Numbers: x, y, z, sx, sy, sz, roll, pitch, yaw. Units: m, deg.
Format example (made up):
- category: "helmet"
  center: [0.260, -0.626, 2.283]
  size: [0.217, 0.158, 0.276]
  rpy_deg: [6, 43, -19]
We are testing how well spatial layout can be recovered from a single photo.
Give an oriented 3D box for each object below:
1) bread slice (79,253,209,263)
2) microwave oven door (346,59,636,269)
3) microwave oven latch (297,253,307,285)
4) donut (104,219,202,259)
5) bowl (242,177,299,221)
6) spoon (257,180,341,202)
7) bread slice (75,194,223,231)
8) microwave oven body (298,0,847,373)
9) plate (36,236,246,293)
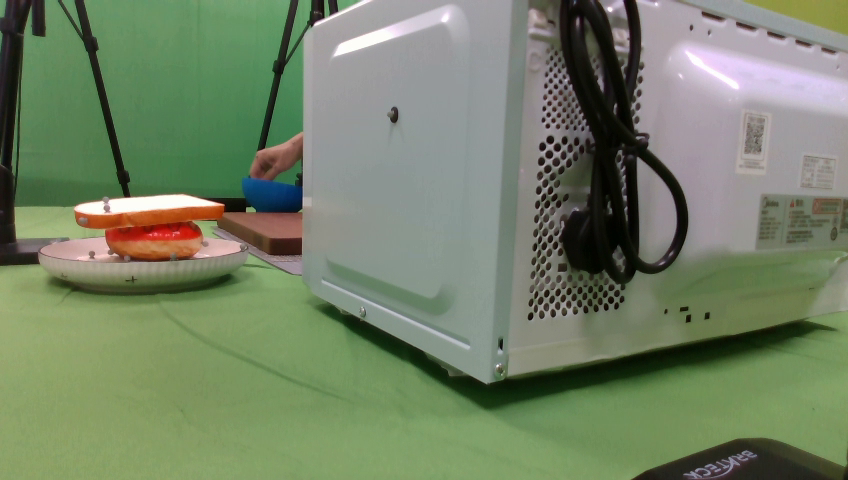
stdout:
- category: "bread slice"
  center: [-0.302, 0.027, 0.662]
  size: [0.132, 0.019, 0.104]
  rpy_deg: [-4, 8, -45]
- category: "microwave oven door"
  center: [0.086, -0.089, 0.750]
  size: [0.357, 0.243, 0.039]
  rpy_deg: [1, 8, -10]
- category: "microwave oven latch"
  center: [-0.082, 0.027, 0.582]
  size: [0.079, 0.029, 0.030]
  rpy_deg: [-1, 7, -32]
- category: "donut"
  center: [-0.298, -0.004, 0.669]
  size: [0.099, 0.048, 0.099]
  rpy_deg: [3, 1, 0]
- category: "bowl"
  center: [-0.322, -0.086, 1.309]
  size: [0.151, 0.077, 0.151]
  rpy_deg: [9, 1, 0]
- category: "spoon"
  center: [-0.277, -0.114, 1.355]
  size: [0.194, 0.021, 0.041]
  rpy_deg: [-19, 22, -24]
- category: "bread slice"
  center: [-0.302, -0.032, 0.659]
  size: [0.106, 0.018, 0.135]
  rpy_deg: [10, 17, 41]
- category: "microwave oven body"
  center: [0.151, -0.055, 0.543]
  size: [0.444, 0.260, 0.324]
  rpy_deg: [-2, 7, -33]
- category: "plate"
  center: [-0.305, 0.026, 0.669]
  size: [0.208, 0.039, 0.207]
  rpy_deg: [2, 7, 0]
